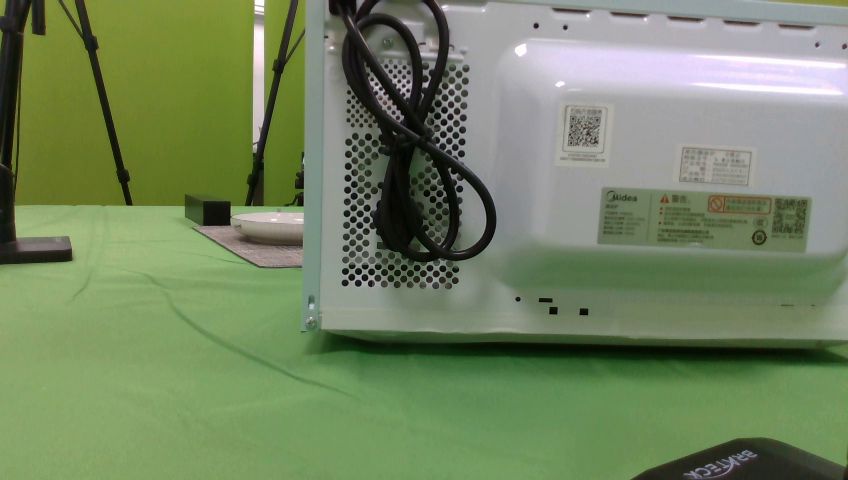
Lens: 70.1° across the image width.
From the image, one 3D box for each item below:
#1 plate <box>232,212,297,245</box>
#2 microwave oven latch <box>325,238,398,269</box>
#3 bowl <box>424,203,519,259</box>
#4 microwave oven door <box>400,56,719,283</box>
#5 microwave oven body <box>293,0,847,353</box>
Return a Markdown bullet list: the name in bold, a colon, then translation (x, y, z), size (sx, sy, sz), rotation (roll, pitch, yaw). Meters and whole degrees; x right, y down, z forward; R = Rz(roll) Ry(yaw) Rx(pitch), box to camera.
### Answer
- **plate**: translation (-0.214, -0.019, 1.017), size (0.208, 0.039, 0.207), rotation (3, 7, 0)
- **microwave oven latch**: translation (-0.070, 0.015, 0.691), size (0.079, 0.029, 0.030), rotation (4, 7, 2)
- **bowl**: translation (0.073, -0.014, 0.961), size (0.151, 0.077, 0.151), rotation (3, 8, 0)
- **microwave oven door**: translation (0.155, -0.077, 0.697), size (0.356, 0.243, 0.039), rotation (2, 8, -5)
- **microwave oven body**: translation (0.122, -0.055, 0.550), size (0.442, 0.260, 0.325), rotation (3, 7, -5)
